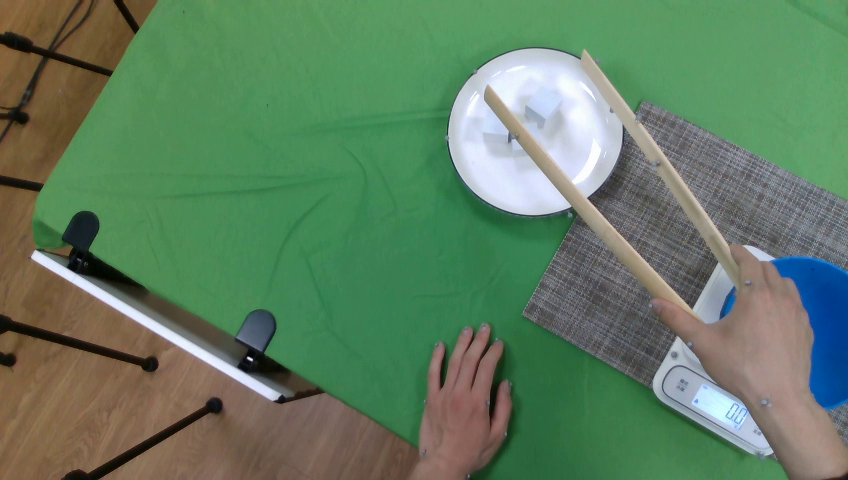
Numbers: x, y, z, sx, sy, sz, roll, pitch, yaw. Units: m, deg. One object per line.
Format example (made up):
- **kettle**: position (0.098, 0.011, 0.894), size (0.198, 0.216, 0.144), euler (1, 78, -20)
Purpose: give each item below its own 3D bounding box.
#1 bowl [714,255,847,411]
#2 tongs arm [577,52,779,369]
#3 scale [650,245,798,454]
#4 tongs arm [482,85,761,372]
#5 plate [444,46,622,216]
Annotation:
- **bowl**: position (0.365, 0.094, 0.620), size (0.151, 0.077, 0.151), euler (-1, 82, 5)
- **tongs arm**: position (0.233, -0.052, 0.610), size (0.051, 0.027, 0.381), euler (-19, 61, -12)
- **scale**: position (0.360, 0.119, 0.670), size (0.148, 0.032, 0.200), euler (30, 86, 9)
- **tongs arm**: position (0.170, -0.027, 0.596), size (0.028, 0.028, 0.384), euler (-26, 62, -20)
- **plate**: position (0.129, -0.128, 0.731), size (0.207, 0.039, 0.207), euler (-1, 82, 5)
